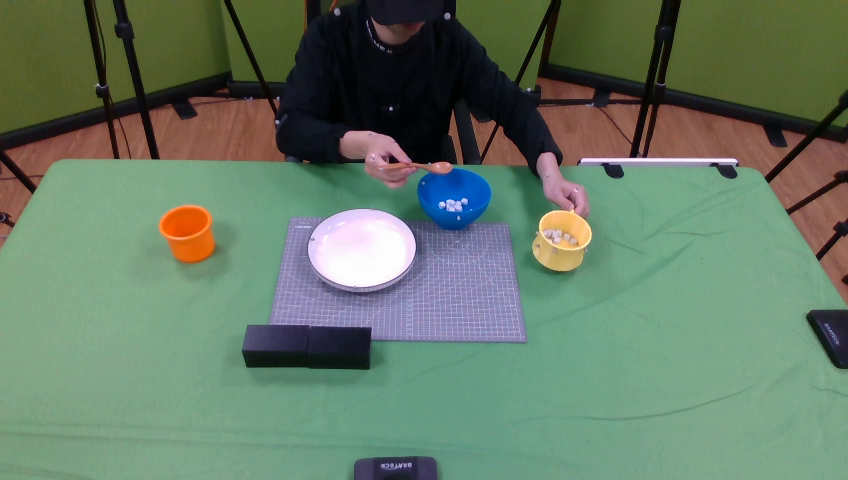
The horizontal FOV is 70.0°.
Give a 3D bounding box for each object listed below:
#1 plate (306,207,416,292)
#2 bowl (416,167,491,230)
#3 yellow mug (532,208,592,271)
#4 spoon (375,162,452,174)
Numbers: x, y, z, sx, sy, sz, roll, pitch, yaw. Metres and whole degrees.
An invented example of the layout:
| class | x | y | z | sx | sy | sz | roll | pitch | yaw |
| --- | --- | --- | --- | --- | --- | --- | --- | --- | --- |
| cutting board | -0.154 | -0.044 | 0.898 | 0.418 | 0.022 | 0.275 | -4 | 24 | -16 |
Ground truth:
| class | x | y | z | sx | sy | sz | roll | pitch | yaw |
| --- | --- | --- | --- | --- | --- | --- | --- | --- | --- |
| plate | -0.119 | 0.021 | 1.153 | 0.209 | 0.038 | 0.208 | 2 | 46 | -2 |
| bowl | 0.056 | -0.073 | 1.231 | 0.151 | 0.077 | 0.150 | 2 | 42 | -2 |
| yellow mug | 0.268 | -0.011 | 1.164 | 0.100 | 0.064 | 0.130 | 19 | 50 | 11 |
| spoon | -0.019 | -0.141 | 1.159 | 0.194 | 0.022 | 0.041 | -4 | 35 | -46 |
